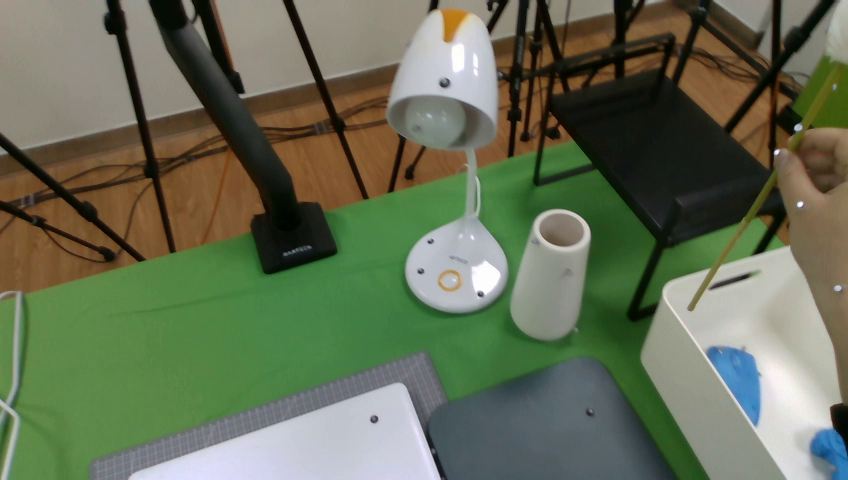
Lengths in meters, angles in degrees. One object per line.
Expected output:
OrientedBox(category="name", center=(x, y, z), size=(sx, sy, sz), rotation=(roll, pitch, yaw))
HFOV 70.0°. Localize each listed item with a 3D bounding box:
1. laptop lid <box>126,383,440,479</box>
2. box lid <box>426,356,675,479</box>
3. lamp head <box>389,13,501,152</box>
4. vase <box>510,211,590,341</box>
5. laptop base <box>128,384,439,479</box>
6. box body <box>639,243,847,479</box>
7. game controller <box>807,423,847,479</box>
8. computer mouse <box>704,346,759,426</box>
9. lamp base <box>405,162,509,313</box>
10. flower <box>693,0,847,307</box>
OrientedBox(category="laptop lid", center=(-0.153, 0.318, 0.696), size=(0.357, 0.013, 0.239), rotation=(-15, 54, -12))
OrientedBox(category="box lid", center=(0.178, 0.319, 0.713), size=(0.264, 0.015, 0.367), rotation=(-16, 52, -14))
OrientedBox(category="lamp head", center=(0.029, -0.164, 0.618), size=(0.112, 0.113, 0.122), rotation=(8, 68, 7))
OrientedBox(category="vase", center=(0.170, 0.052, 0.816), size=(0.098, 0.202, 0.097), rotation=(-1, 49, 2))
OrientedBox(category="laptop base", center=(-0.154, 0.323, 0.707), size=(0.355, 0.023, 0.233), rotation=(-16, 56, -13))
OrientedBox(category="box body", center=(0.453, 0.207, 0.708), size=(0.254, 0.162, 0.360), rotation=(-14, 51, -11))
OrientedBox(category="game controller", center=(0.512, 0.288, 0.708), size=(0.097, 0.052, 0.154), rotation=(11, 50, 12))
OrientedBox(category="computer mouse", center=(0.403, 0.188, 0.797), size=(0.062, 0.041, 0.116), rotation=(12, 47, 14))
OrientedBox(category="lamp base", center=(0.053, -0.014, 0.884), size=(0.160, 0.182, 0.178), rotation=(10, 48, 9))
OrientedBox(category="flower", center=(0.272, -0.040, 0.481), size=(0.044, 0.365, 0.038), rotation=(-26, 56, -15))
